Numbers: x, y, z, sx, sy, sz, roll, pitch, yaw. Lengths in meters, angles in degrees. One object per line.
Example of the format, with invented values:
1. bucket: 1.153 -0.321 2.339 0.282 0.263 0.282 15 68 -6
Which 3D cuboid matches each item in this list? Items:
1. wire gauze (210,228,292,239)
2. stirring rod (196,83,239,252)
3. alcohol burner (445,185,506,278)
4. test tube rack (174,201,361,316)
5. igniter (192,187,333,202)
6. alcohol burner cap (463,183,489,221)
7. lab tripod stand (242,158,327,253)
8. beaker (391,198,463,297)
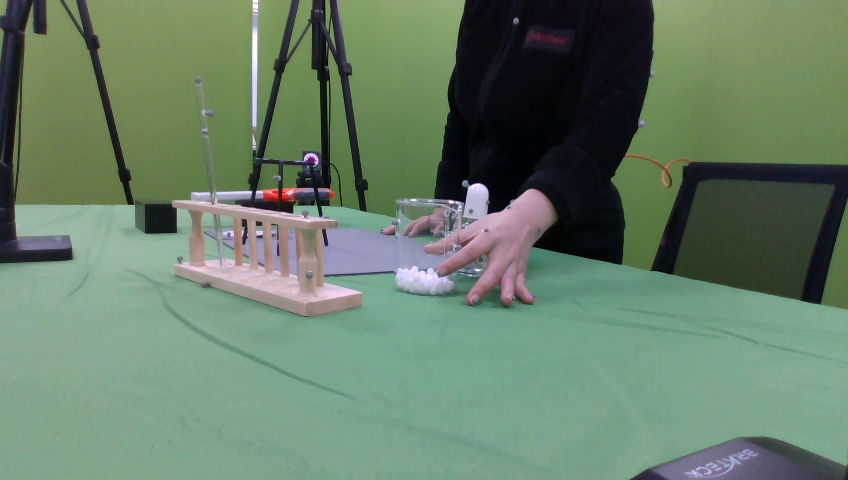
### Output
1. wire gauze: -0.298 -0.013 1.039 0.122 0.011 0.124 -2 6 -27
2. stirring rod: -0.213 -0.072 0.625 0.006 0.176 0.014 -14 12 -22
3. alcohol burner: 0.066 -0.013 0.771 0.078 0.119 0.078 1 7 0
4. test tube rack: -0.169 0.010 0.622 0.241 0.085 0.067 9 9 41
5. igniter: -0.316 -0.090 1.213 0.278 0.025 0.057 -5 12 -31
6. alcohol burner cap: 0.067 -0.048 0.765 0.034 0.048 0.034 5 5 0
7. lab tripod stand: -0.207 -0.054 0.895 0.148 0.131 0.148 2 5 0
8. beaker: 0.005 0.007 0.647 0.074 0.100 0.083 -5 10 -44
